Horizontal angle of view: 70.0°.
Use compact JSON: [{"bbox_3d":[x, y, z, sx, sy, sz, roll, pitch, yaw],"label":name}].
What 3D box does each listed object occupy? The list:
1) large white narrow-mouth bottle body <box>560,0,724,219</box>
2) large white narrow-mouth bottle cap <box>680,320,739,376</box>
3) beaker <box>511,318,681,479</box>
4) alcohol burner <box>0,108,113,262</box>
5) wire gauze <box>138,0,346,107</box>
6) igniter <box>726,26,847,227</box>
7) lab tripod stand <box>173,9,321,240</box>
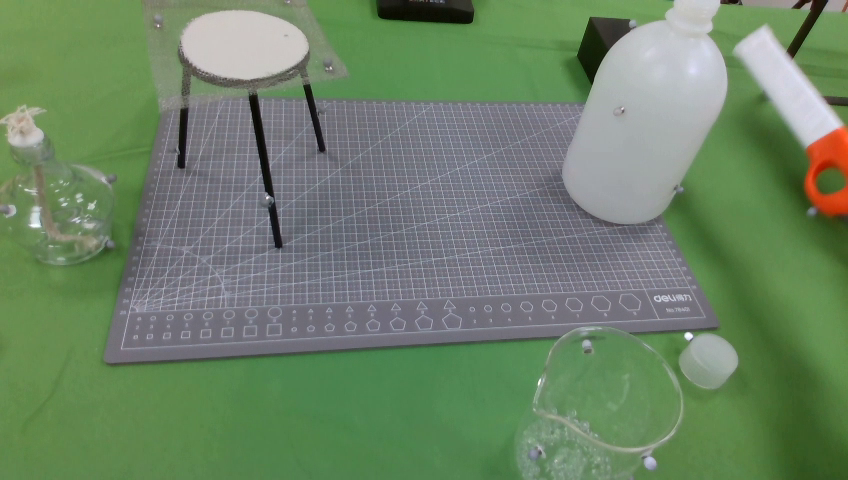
[{"bbox_3d":[0.184,-0.115,0.499,0.102,0.196,0.101,4,48,-4],"label":"large white narrow-mouth bottle body"},{"bbox_3d":[0.212,0.081,0.451,0.038,0.024,0.037,4,48,-4],"label":"large white narrow-mouth bottle cap"},{"bbox_3d":[0.091,0.106,0.356,0.084,0.101,0.073,-11,50,-16],"label":"beaker"},{"bbox_3d":[-0.263,-0.041,0.421,0.078,0.120,0.077,6,46,-5],"label":"alcohol burner"},{"bbox_3d":[-0.129,-0.140,0.422,0.122,0.011,0.123,-12,53,-20],"label":"wire gauze"},{"bbox_3d":[0.313,-0.072,0.471,0.025,0.057,0.273,25,41,-40],"label":"igniter"},{"bbox_3d":[-0.133,-0.094,0.471,0.149,0.132,0.147,6,48,-6],"label":"lab tripod stand"}]
